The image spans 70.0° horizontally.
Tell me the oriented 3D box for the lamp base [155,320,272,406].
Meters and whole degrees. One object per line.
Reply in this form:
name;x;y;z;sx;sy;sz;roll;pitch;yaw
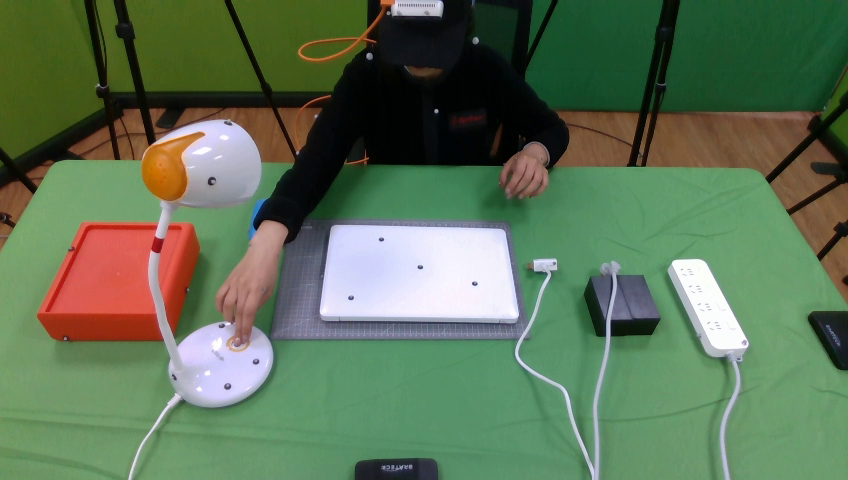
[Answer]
lamp base;-0.330;0.149;0.918;0.160;0.181;0.179;26;52;20

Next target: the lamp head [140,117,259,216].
lamp head;-0.281;-0.086;0.734;0.112;0.113;0.123;21;25;16

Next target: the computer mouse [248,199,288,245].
computer mouse;-0.309;-0.040;1.205;0.063;0.041;0.116;3;49;-3

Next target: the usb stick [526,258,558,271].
usb stick;0.226;0.047;1.158;0.059;0.021;0.027;-2;8;10

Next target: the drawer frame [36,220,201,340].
drawer frame;-0.518;0.065;1.055;0.202;0.083;0.212;0;47;-5

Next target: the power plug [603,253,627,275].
power plug;0.365;0.040;1.131;0.035;0.072;0.052;40;52;-9

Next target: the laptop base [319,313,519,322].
laptop base;-0.009;0.063;1.137;0.354;0.023;0.234;1;42;-3

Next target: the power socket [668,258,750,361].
power socket;0.517;0.118;1.109;0.072;0.033;0.225;-2;46;-4

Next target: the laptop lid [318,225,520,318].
laptop lid;-0.009;0.053;1.131;0.357;0.013;0.240;2;43;-2

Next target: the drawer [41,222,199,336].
drawer;-0.519;0.064;1.058;0.195;0.073;0.210;1;47;-4
